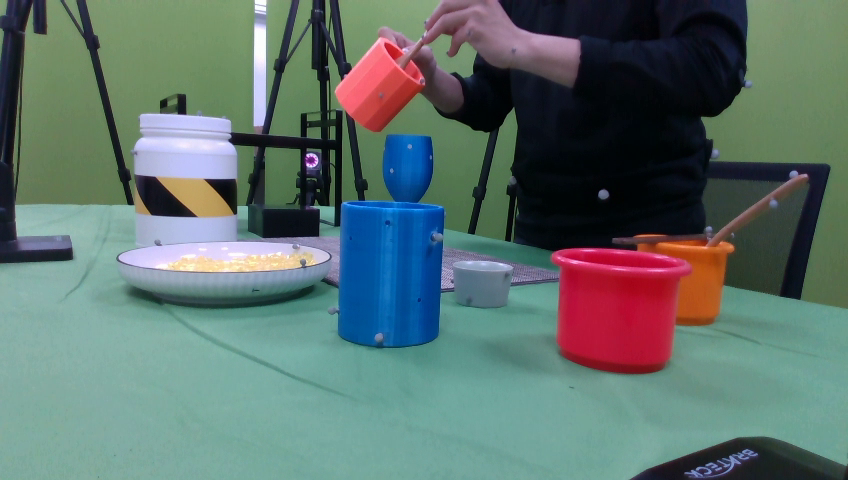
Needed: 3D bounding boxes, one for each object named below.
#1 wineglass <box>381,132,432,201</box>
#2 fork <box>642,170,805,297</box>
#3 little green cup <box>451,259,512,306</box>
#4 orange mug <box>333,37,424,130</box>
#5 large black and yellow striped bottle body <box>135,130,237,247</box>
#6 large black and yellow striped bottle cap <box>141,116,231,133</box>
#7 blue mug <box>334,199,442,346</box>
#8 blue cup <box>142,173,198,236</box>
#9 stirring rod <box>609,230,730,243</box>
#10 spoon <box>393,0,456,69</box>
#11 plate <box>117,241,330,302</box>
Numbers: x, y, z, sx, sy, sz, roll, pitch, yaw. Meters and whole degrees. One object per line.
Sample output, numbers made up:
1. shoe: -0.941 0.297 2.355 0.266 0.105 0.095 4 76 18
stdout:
1. wineglass: -0.026 -0.062 0.841 0.074 0.172 0.073 2 7 0
2. fork: 0.261 0.004 0.545 0.028 0.018 0.207 5 -37 -15
3. little green cup: 0.057 0.043 0.611 0.061 0.038 0.061 3 8 0
4. orange mug: -0.063 -0.227 0.857 0.084 0.100 0.126 38 30 -22
5. large black and yellow striped bottle body: -0.327 -0.074 0.838 0.131 0.184 0.130 2 7 0
6. large black and yellow striped bottle cap: -0.324 -0.157 0.826 0.115 0.019 0.115 1 7 0
7. blue mug: -0.034 0.020 0.498 0.083 0.106 0.116 0 7 -20
8. blue cup: -0.425 -0.060 1.014 0.093 0.100 0.092 4 9 0
9. stirring rod: 0.241 -0.004 0.582 0.177 0.006 0.014 -4 10 -33
10. spoon: -0.010 -0.270 0.826 0.041 0.193 0.022 40 0 32
11. plate: -0.203 0.031 0.630 0.209 0.038 0.209 3 7 0
